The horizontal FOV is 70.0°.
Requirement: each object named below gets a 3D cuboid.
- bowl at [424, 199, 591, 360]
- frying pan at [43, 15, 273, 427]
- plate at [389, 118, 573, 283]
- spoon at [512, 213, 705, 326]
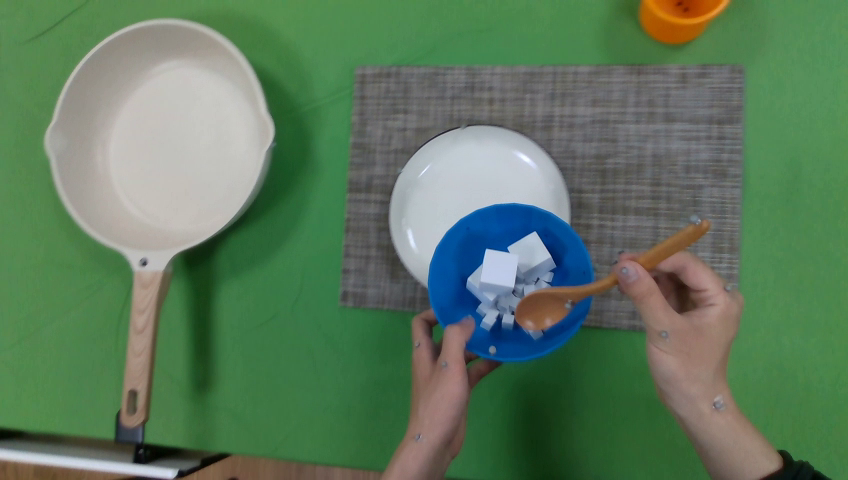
[{"bbox_3d":[0.080,0.044,0.578,0.151,0.077,0.150,-3,71,9],"label":"bowl"},{"bbox_3d":[-0.326,-0.026,0.737,0.306,0.103,0.485,1,78,12],"label":"frying pan"},{"bbox_3d":[0.064,-0.034,0.694,0.207,0.039,0.207,-1,86,11],"label":"plate"},{"bbox_3d":[0.134,0.028,0.464,0.042,0.194,0.021,33,55,-14],"label":"spoon"}]
